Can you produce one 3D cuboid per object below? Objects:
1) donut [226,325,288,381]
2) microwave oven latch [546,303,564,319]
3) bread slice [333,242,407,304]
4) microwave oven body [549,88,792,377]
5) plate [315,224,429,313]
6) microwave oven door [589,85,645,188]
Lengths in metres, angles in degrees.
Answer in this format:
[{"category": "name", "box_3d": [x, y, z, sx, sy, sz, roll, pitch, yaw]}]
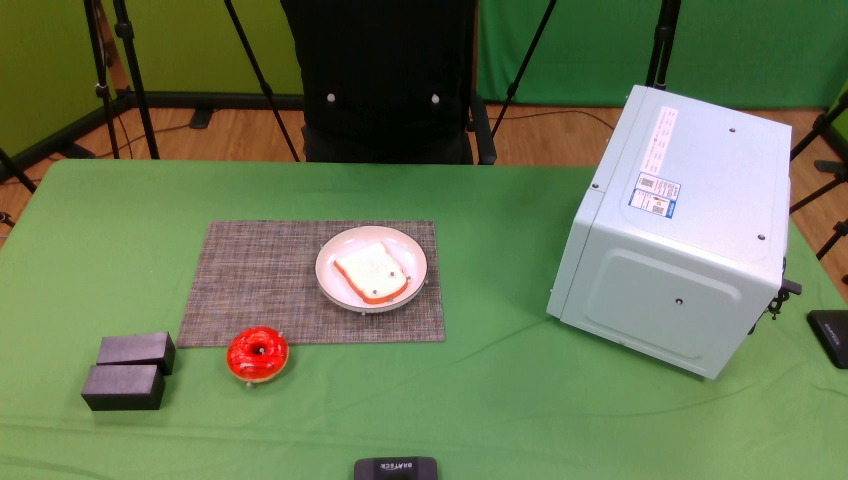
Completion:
[{"category": "donut", "box_3d": [-0.270, 0.182, 0.984, 0.099, 0.048, 0.098, 5, 49, -5]}, {"category": "microwave oven latch", "box_3d": [0.242, 0.102, 1.081, 0.030, 0.029, 0.079, 22, 48, 17]}, {"category": "bread slice", "box_3d": [-0.092, 0.061, 1.117, 0.105, 0.019, 0.130, -24, 52, -24]}, {"category": "microwave oven body", "box_3d": [0.456, -0.028, 1.088, 0.325, 0.261, 0.440, 20, 47, 16]}, {"category": "plate", "box_3d": [-0.096, 0.055, 1.121, 0.208, 0.039, 0.206, 2, 46, -2]}, {"category": "microwave oven door", "box_3d": [0.342, -0.107, 1.149, 0.039, 0.245, 0.354, 20, 48, 15]}]
